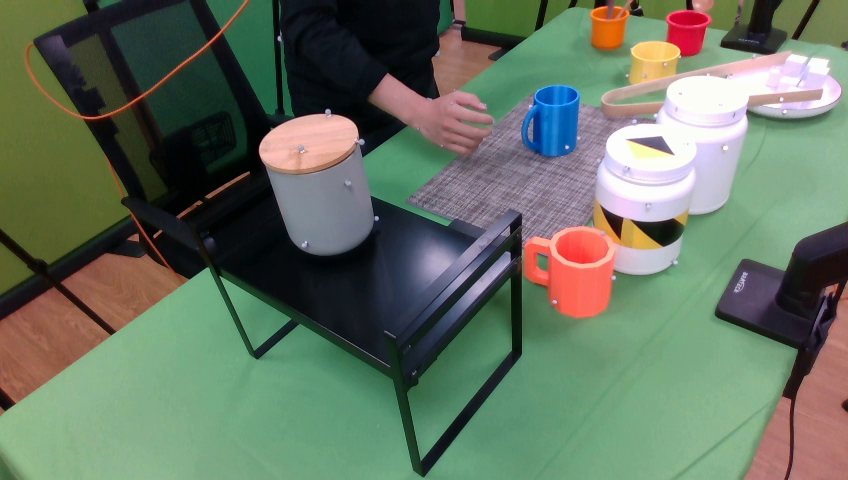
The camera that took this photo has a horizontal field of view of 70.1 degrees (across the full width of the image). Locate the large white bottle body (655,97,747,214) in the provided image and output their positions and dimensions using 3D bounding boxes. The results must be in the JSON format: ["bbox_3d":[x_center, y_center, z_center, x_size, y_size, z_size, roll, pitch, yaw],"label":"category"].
[{"bbox_3d":[0.431,-0.148,0.959,0.130,0.185,0.130,-4,41,4],"label":"large white bottle body"}]

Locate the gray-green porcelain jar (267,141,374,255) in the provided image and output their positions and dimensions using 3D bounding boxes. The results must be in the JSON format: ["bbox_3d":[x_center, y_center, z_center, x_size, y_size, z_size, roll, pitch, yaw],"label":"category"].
[{"bbox_3d":[-0.116,-0.054,0.703,0.106,0.127,0.105,-4,40,4],"label":"gray-green porcelain jar"}]

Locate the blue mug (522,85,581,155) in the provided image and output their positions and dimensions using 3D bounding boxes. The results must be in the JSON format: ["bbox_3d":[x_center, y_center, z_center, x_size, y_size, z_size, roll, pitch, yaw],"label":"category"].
[{"bbox_3d":[0.233,-0.218,1.127,0.117,0.106,0.081,-23,43,-16],"label":"blue mug"}]

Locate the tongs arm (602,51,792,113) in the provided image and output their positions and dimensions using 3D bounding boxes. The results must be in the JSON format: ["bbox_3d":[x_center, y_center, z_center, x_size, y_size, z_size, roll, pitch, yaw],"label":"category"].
[{"bbox_3d":[0.552,-0.320,1.224,0.384,0.027,0.050,-10,43,7],"label":"tongs arm"}]

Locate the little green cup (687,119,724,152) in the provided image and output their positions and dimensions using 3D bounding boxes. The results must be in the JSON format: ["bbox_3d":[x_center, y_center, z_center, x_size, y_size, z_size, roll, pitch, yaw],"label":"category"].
[{"bbox_3d":[0.514,-0.191,1.109,0.061,0.039,0.061,-5,40,5],"label":"little green cup"}]

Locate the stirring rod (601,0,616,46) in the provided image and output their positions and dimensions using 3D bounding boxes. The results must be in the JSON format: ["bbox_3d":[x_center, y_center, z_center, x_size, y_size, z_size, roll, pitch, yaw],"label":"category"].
[{"bbox_3d":[0.452,-0.554,1.463,0.014,0.006,0.176,11,86,13],"label":"stirring rod"}]

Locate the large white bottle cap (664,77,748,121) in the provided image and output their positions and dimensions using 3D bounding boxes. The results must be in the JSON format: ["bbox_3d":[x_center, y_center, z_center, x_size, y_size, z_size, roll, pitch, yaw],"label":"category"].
[{"bbox_3d":[0.421,-0.212,0.905,0.115,0.018,0.114,-4,40,4],"label":"large white bottle cap"}]

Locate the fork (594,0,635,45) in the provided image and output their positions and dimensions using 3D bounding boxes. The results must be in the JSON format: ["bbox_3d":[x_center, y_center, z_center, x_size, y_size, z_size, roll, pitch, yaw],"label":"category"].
[{"bbox_3d":[0.485,-0.552,1.447,0.207,0.019,0.028,-51,43,17],"label":"fork"}]

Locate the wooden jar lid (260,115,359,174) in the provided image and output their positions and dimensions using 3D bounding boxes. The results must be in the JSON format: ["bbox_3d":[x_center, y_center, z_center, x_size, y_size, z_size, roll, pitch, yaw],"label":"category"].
[{"bbox_3d":[-0.124,-0.101,0.662,0.108,0.021,0.108,-4,41,4],"label":"wooden jar lid"}]

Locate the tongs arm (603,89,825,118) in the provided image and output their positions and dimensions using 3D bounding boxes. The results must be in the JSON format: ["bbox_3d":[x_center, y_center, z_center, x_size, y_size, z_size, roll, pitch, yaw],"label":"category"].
[{"bbox_3d":[0.546,-0.262,1.163,0.386,0.028,0.028,-1,49,18],"label":"tongs arm"}]

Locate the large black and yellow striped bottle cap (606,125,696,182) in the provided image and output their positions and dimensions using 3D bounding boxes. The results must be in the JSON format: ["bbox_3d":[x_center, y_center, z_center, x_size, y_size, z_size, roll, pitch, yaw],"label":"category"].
[{"bbox_3d":[0.305,-0.119,0.816,0.115,0.019,0.114,-5,41,5],"label":"large black and yellow striped bottle cap"}]

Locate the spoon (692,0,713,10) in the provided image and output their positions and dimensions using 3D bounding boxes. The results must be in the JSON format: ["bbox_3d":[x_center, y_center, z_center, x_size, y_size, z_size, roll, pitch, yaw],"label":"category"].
[{"bbox_3d":[0.580,-0.583,1.281,0.041,0.193,0.022,-9,6,27],"label":"spoon"}]

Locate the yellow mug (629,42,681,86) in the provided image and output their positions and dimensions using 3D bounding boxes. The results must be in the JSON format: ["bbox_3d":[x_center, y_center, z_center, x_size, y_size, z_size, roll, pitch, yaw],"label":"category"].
[{"bbox_3d":[0.494,-0.389,1.321,0.100,0.064,0.130,-14,40,-7],"label":"yellow mug"}]

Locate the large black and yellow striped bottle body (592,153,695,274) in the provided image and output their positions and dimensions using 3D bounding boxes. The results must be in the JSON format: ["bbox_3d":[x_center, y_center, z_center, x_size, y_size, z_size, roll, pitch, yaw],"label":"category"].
[{"bbox_3d":[0.313,-0.056,0.872,0.131,0.185,0.130,-4,41,4],"label":"large black and yellow striped bottle body"}]

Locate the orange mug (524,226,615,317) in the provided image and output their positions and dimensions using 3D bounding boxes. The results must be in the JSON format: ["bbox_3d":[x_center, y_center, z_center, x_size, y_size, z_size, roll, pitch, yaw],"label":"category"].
[{"bbox_3d":[0.201,0.039,0.845,0.125,0.101,0.083,18,46,21],"label":"orange mug"}]

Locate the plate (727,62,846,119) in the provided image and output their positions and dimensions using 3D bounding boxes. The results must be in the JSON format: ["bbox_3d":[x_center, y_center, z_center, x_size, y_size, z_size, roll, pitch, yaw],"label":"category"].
[{"bbox_3d":[0.709,-0.292,1.197,0.207,0.039,0.206,-4,40,4],"label":"plate"}]
